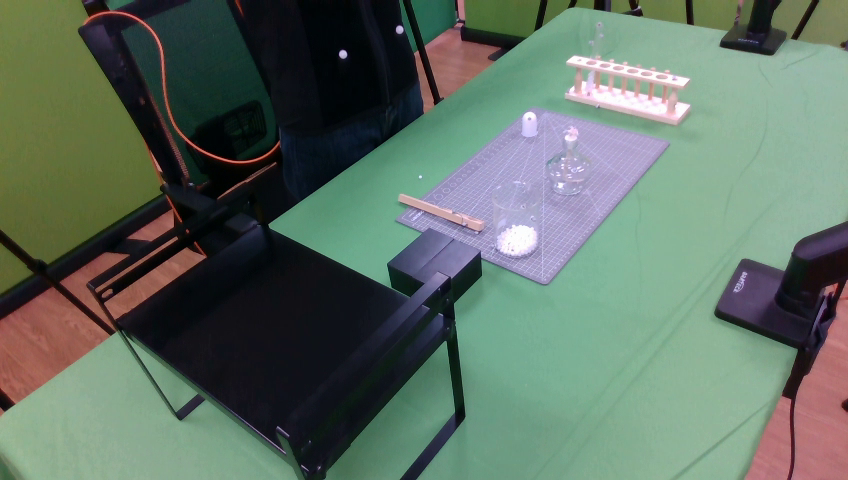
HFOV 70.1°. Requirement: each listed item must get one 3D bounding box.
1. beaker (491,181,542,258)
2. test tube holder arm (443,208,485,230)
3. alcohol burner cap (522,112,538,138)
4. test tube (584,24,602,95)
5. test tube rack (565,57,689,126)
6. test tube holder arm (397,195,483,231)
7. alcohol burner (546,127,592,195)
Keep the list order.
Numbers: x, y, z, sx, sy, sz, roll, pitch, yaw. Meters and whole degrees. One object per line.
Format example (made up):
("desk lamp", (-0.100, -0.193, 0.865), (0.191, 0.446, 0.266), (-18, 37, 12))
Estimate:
("beaker", (0.144, -0.030, 0.925), (0.073, 0.100, 0.084), (23, 48, 31))
("test tube holder arm", (0.063, -0.035, 1.007), (0.087, 0.015, 0.010), (21, 18, 33))
("alcohol burner cap", (0.210, -0.230, 1.195), (0.034, 0.048, 0.033), (-5, 42, 5))
("test tube", (0.342, -0.362, 1.226), (0.017, 0.151, 0.017), (-2, 44, 2))
("test tube rack", (0.412, -0.311, 1.230), (0.240, 0.085, 0.067), (23, 49, 32))
("test tube holder arm", (0.024, -0.048, 1.026), (0.177, 0.015, 0.013), (21, 18, 31))
("alcohol burner", (0.246, -0.137, 1.024), (0.078, 0.119, 0.077), (-4, 38, 4))
